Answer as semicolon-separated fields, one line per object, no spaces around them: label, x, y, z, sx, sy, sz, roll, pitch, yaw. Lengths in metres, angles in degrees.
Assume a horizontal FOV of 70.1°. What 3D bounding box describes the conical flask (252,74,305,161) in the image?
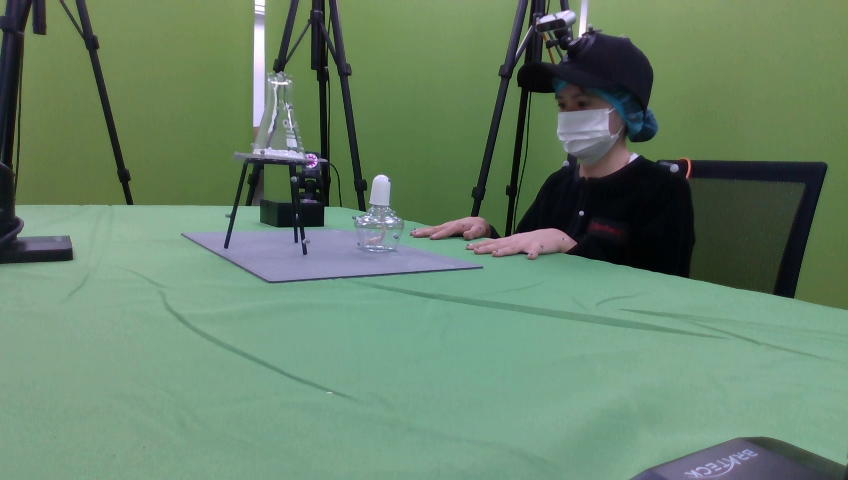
conical flask;-0.211;-0.176;0.879;0.075;0.122;0.075;3;6;0

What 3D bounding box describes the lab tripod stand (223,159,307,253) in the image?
lab tripod stand;-0.220;-0.053;0.896;0.148;0.131;0.148;1;6;0

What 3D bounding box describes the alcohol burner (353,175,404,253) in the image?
alcohol burner;-0.069;-0.040;0.927;0.078;0.119;0.078;1;9;0

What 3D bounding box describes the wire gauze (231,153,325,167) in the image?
wire gauze;-0.215;-0.117;0.882;0.125;0.011;0.121;3;7;-19

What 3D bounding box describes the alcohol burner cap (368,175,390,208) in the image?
alcohol burner cap;-0.067;-0.075;0.923;0.034;0.048;0.034;8;11;-1
